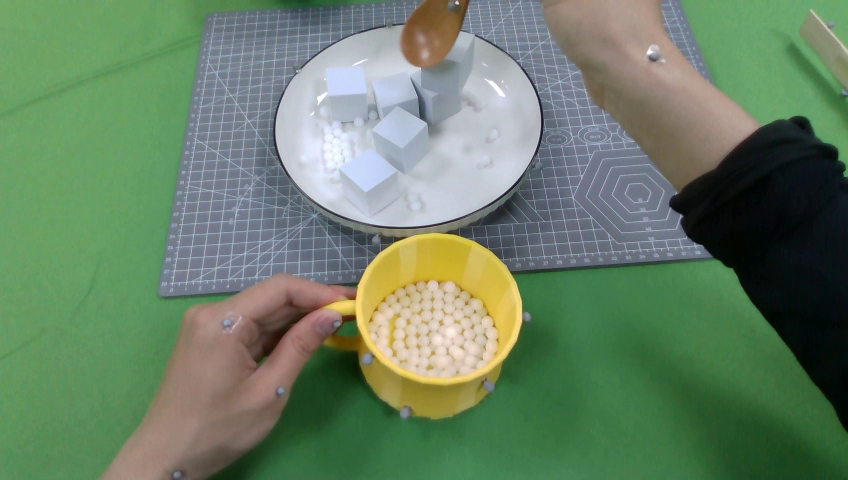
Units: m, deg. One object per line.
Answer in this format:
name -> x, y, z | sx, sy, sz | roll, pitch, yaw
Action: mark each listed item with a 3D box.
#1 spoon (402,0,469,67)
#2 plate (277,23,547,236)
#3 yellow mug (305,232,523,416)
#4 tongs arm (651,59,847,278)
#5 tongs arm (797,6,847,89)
spoon -> 0.040, -0.175, 0.373 | 0.022, 0.194, 0.041 | -26, 81, -37
plate -> -0.009, -0.088, 0.482 | 0.207, 0.039, 0.206 | -1, 60, 2
yellow mug -> -0.008, 0.054, 0.380 | 0.131, 0.064, 0.099 | -2, 58, -6
tongs arm -> 0.295, -0.002, 0.427 | 0.028, 0.028, 0.384 | -27, 64, -18
tongs arm -> 0.370, -0.031, 0.440 | 0.051, 0.027, 0.381 | -16, 62, -9
